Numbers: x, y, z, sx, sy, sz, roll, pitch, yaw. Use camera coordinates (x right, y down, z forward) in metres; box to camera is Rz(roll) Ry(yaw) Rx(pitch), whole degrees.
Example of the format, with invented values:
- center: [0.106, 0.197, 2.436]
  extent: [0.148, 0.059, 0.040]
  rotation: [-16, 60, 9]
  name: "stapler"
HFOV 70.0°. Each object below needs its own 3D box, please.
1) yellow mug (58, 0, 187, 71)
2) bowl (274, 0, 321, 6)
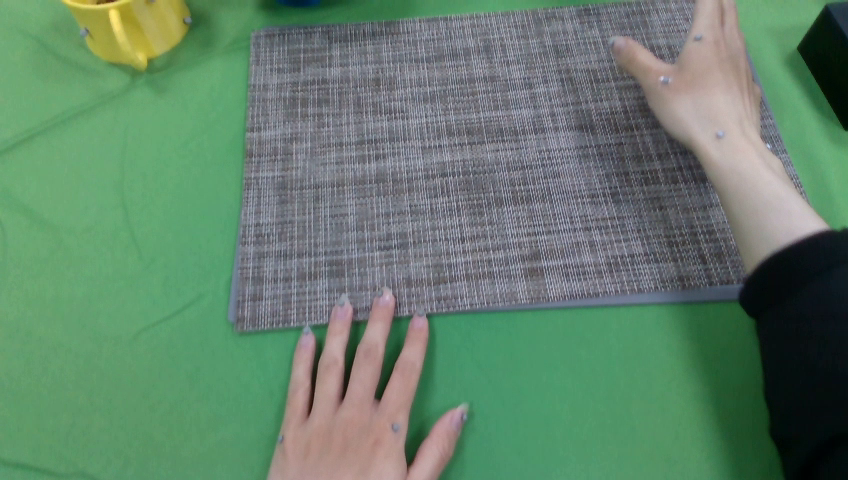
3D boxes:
- center: [-0.274, -0.211, 0.550]
  extent: [0.100, 0.064, 0.129]
  rotation: [-16, 64, -8]
  name: "yellow mug"
- center: [-0.126, -0.281, 0.578]
  extent: [0.151, 0.077, 0.150]
  rotation: [0, 62, 1]
  name: "bowl"
